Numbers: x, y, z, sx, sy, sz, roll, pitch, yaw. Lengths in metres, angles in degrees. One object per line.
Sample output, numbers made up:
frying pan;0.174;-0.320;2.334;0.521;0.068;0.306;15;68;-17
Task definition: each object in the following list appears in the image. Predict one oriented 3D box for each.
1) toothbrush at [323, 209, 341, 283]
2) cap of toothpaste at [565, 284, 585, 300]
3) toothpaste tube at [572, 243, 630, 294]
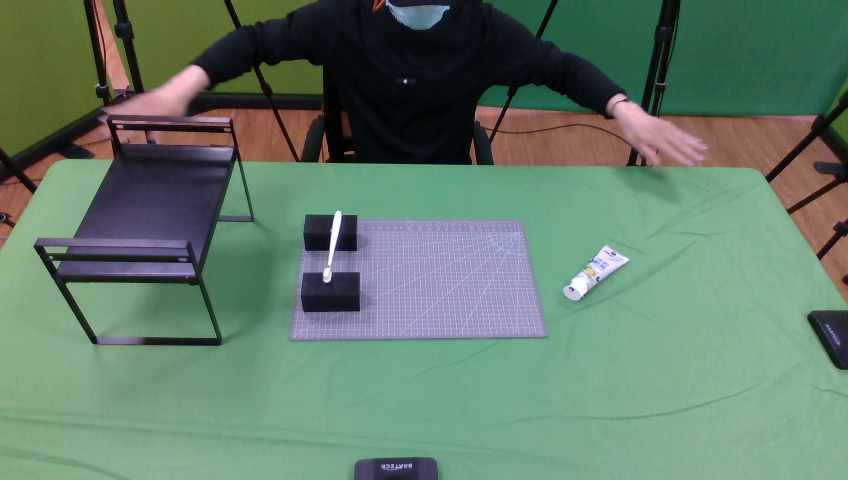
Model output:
toothbrush;-0.167;0.005;1.106;0.014;0.017;0.180;-5;45;7
cap of toothpaste;0.277;0.094;1.111;0.037;0.037;0.011;26;52;20
toothpaste tube;0.334;0.057;1.158;0.055;0.034;0.165;40;52;21
